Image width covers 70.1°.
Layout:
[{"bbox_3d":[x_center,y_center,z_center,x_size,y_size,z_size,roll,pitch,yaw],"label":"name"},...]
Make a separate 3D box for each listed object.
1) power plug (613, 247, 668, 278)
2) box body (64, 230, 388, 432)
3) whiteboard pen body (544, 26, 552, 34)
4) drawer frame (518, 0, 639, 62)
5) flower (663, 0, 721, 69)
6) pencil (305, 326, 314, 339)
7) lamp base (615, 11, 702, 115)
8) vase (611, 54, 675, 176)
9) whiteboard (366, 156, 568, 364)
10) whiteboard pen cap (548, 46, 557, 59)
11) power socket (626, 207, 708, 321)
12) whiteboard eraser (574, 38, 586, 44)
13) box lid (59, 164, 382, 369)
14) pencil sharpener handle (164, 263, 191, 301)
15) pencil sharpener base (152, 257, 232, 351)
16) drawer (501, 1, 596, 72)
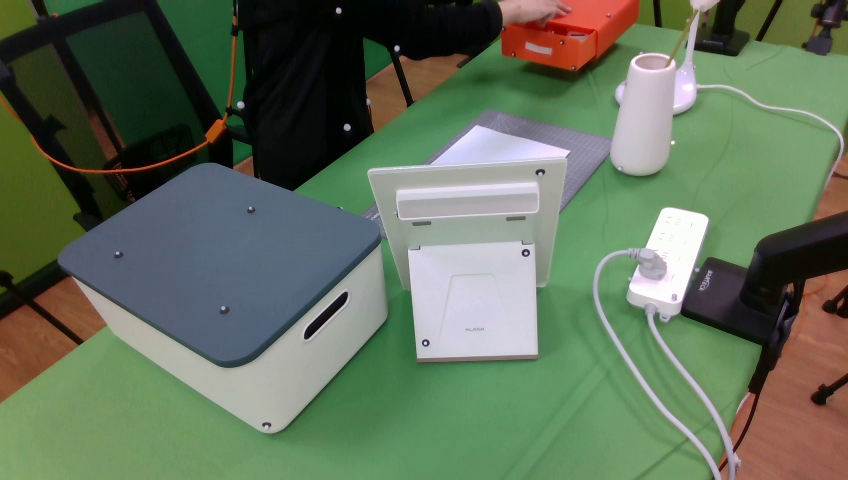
[{"bbox_3d":[0.306,0.031,0.851,0.072,0.053,0.035,24,49,34],"label":"power plug"},{"bbox_3d":[-0.256,0.065,0.827,0.361,0.161,0.255,20,48,29],"label":"box body"},{"bbox_3d":[0.289,-0.461,1.387,0.017,0.017,0.140,-2,39,6],"label":"whiteboard pen body"},{"bbox_3d":[0.360,-0.514,1.415,0.200,0.083,0.214,24,52,32],"label":"drawer frame"},{"bbox_3d":[0.379,-0.261,0.965,0.044,0.362,0.038,20,52,5],"label":"flower"},{"bbox_3d":[-0.187,0.106,0.880,0.012,0.012,0.192,-27,42,-22],"label":"pencil"},{"bbox_3d":[0.484,-0.364,1.211,0.180,0.181,0.159,-15,41,-14],"label":"lamp base"},{"bbox_3d":[0.377,-0.209,1.031,0.098,0.201,0.097,-4,40,3],"label":"vase"},{"bbox_3d":[0.059,0.050,0.738,0.217,0.307,0.143,-2,60,6],"label":"whiteboard"},{"bbox_3d":[0.286,-0.418,1.346,0.018,0.018,0.033,-2,42,6],"label":"whiteboard pen cap"},{"bbox_3d":[0.359,0.025,0.886,0.072,0.033,0.227,16,46,26],"label":"power socket"},{"bbox_3d":[0.354,-0.433,1.374,0.055,0.042,0.113,1,13,21],"label":"whiteboard eraser"},{"bbox_3d":[-0.263,0.010,0.777,0.368,0.015,0.264,20,47,29],"label":"box lid"},{"bbox_3d":[-0.354,0.055,0.866,0.036,0.068,0.030,-17,39,-29],"label":"pencil sharpener handle"},{"bbox_3d":[-0.322,0.088,0.841,0.061,0.107,0.076,-28,44,-20],"label":"pencil sharpener base"},{"bbox_3d":[0.311,-0.470,1.370,0.193,0.073,0.212,24,48,32],"label":"drawer"}]
